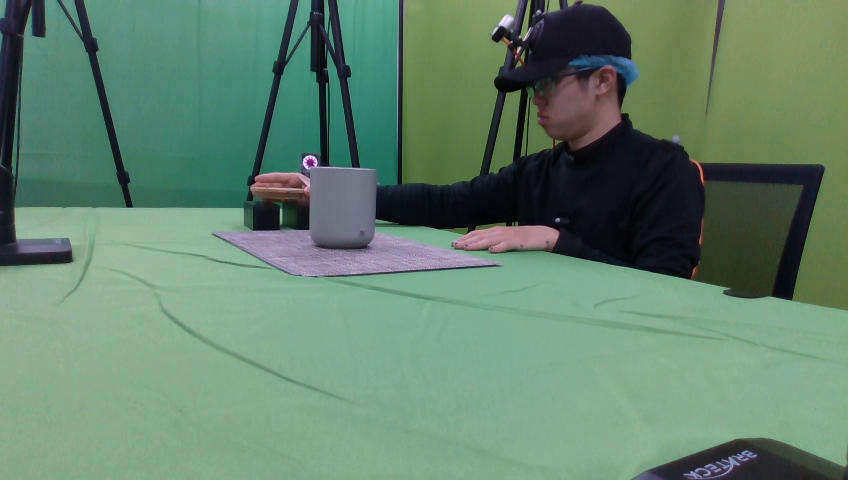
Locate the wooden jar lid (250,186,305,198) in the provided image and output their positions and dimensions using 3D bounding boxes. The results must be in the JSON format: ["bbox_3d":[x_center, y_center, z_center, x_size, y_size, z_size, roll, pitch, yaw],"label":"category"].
[{"bbox_3d":[-0.295,-0.097,1.220,0.108,0.020,0.108,4,6,0],"label":"wooden jar lid"}]

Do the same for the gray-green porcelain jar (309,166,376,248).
[{"bbox_3d":[-0.130,-0.054,0.966,0.106,0.126,0.106,2,7,0],"label":"gray-green porcelain jar"}]
